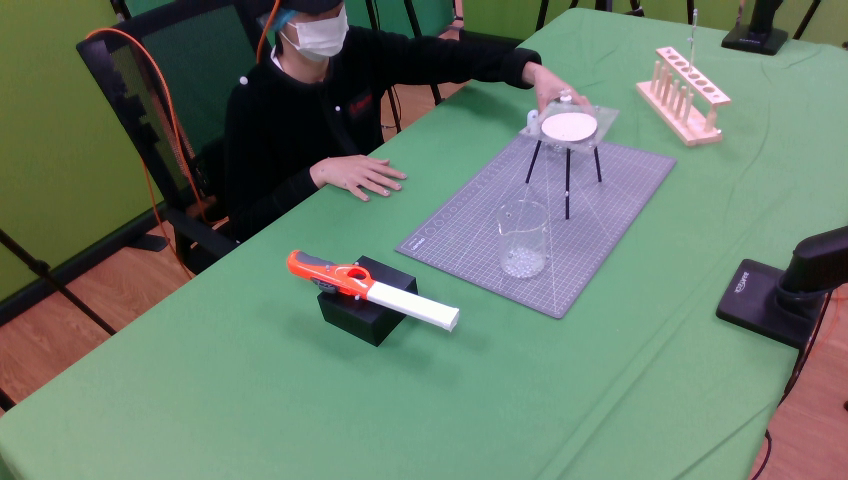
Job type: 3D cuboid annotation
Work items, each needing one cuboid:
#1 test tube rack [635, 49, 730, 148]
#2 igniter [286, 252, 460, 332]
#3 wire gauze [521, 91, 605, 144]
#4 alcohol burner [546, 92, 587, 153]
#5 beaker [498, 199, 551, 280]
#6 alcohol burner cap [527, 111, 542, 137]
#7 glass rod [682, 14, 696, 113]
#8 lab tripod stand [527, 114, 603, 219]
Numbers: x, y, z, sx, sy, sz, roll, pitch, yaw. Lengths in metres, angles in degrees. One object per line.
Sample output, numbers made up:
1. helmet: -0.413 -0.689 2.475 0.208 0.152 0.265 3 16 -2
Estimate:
1. test tube rack: 0.497 -0.283 1.185 0.067 0.085 0.240 -10 40 -2
2. igniter: -0.080 0.067 0.832 0.275 0.025 0.057 17 46 22
3. wire gauze: 0.219 -0.191 0.948 0.121 0.011 0.125 8 49 13
4. alcohol burner: 0.263 -0.222 1.124 0.078 0.119 0.077 -5 41 5
5. beaker: 0.144 0.003 0.884 0.073 0.101 0.084 28 52 36
6. alcohol burner cap: 0.221 -0.233 1.200 0.034 0.048 0.033 -6 41 6
7. glass rod: 0.495 -0.326 1.132 0.008 0.201 0.008 -8 42 8
8. lab tripod stand: 0.234 -0.129 1.002 0.148 0.132 0.147 -6 40 6
